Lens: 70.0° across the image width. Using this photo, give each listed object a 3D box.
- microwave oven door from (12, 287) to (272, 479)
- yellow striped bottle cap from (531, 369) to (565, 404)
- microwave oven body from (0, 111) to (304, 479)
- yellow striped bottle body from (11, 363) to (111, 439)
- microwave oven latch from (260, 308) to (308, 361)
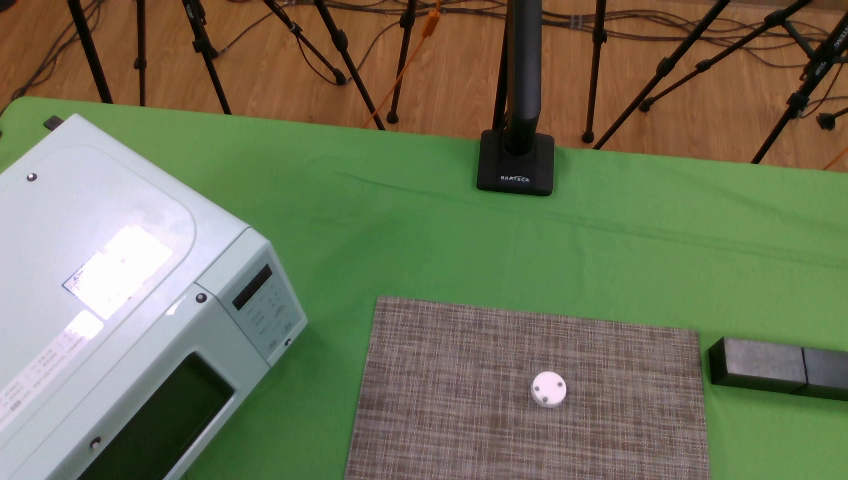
[{"bbox_3d":[-0.315,0.231,0.633,0.039,0.246,0.355,31,66,16],"label":"microwave oven door"},{"bbox_3d":[0.163,0.193,0.797,0.044,0.019,0.044,-1,61,2],"label":"yellow striped bottle cap"},{"bbox_3d":[-0.412,0.131,0.692,0.324,0.262,0.440,31,67,15],"label":"microwave oven body"},{"bbox_3d":[-0.406,0.178,0.676,0.063,0.121,0.062,1,60,-1],"label":"yellow striped bottle body"},{"bbox_3d":[-0.188,0.121,0.807,0.030,0.030,0.079,33,67,16],"label":"microwave oven latch"}]
